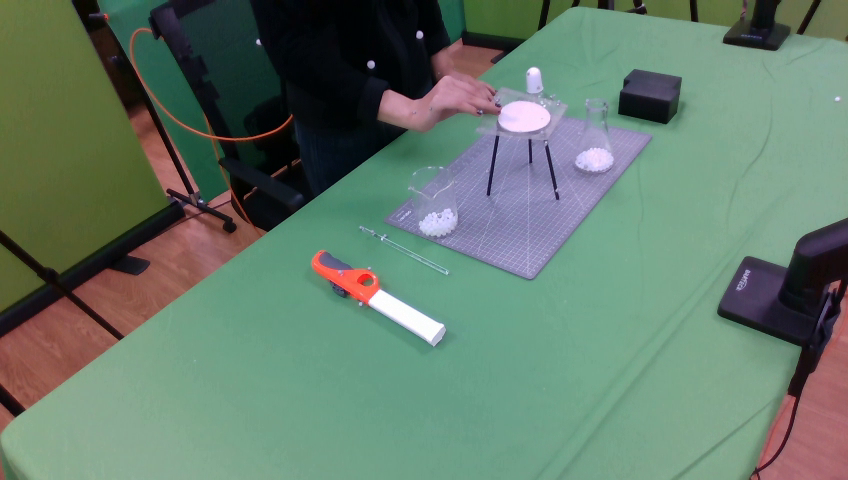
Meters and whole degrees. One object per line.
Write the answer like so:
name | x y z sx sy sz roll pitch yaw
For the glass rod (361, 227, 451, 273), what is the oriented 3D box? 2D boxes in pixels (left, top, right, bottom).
glass rod | -0.033 0.014 0.985 0.198 0.008 0.008 25 51 34

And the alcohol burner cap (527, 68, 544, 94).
alcohol burner cap | 0.216 -0.312 1.179 0.034 0.048 0.033 -10 40 9

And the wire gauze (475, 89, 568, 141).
wire gauze | 0.161 -0.204 0.991 0.121 0.011 0.125 17 49 19

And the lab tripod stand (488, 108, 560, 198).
lab tripod stand | 0.173 -0.150 1.037 0.148 0.132 0.147 -7 38 6

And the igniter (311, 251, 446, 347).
igniter | -0.078 0.081 0.899 0.274 0.025 0.057 27 62 35

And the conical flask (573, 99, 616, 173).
conical flask | 0.302 -0.184 1.061 0.075 0.122 0.075 -5 40 5

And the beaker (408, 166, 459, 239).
beaker | 0.018 -0.057 0.984 0.074 0.101 0.083 -6 41 5

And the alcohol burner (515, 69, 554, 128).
alcohol burner | 0.221 -0.285 1.203 0.078 0.119 0.077 -4 39 4
